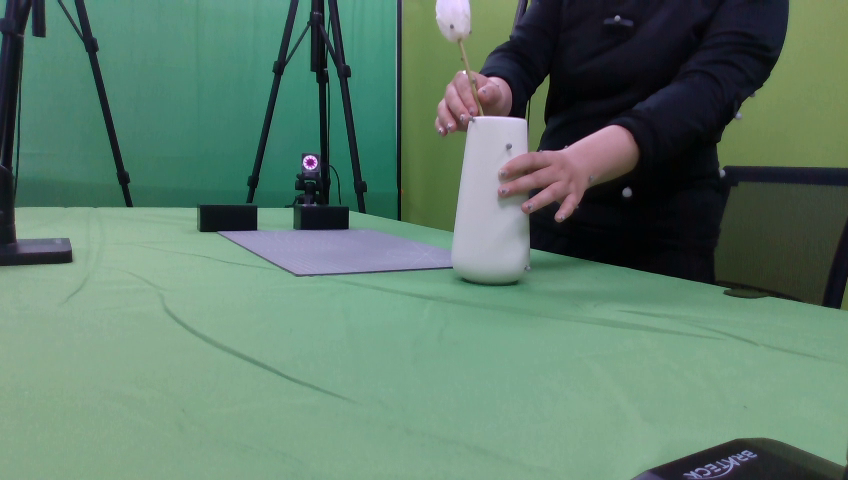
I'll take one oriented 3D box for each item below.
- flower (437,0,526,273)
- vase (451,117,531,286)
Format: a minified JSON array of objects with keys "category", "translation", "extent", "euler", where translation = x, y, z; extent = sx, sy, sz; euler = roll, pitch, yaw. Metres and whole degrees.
[{"category":"flower","translation":[0.075,-0.135,0.737],"extent":[0.044,0.361,0.038],"euler":[-17,-8,24]},{"category":"vase","translation":[0.084,-0.047,0.737],"extent":[0.098,0.200,0.098],"euler":[2,6,0]}]
